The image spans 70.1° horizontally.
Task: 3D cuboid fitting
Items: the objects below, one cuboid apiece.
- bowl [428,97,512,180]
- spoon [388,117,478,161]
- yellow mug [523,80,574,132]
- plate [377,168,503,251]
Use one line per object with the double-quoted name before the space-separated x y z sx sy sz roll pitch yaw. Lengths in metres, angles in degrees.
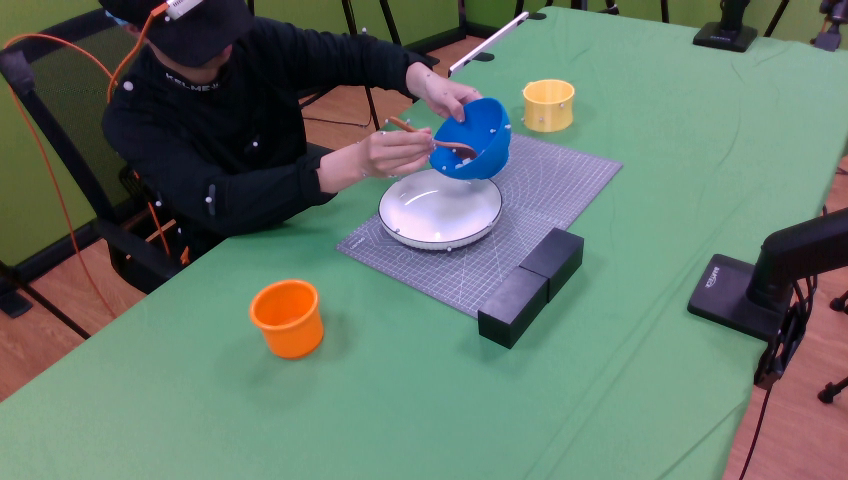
"bowl" 0.089 -0.151 0.991 0.151 0.077 0.150 -26 43 27
"spoon" 0.017 -0.155 0.943 0.041 0.021 0.195 -1 -9 44
"yellow mug" 0.242 -0.278 1.224 0.100 0.064 0.129 -24 42 -18
"plate" 0.027 -0.050 1.007 0.209 0.038 0.208 -4 41 4
